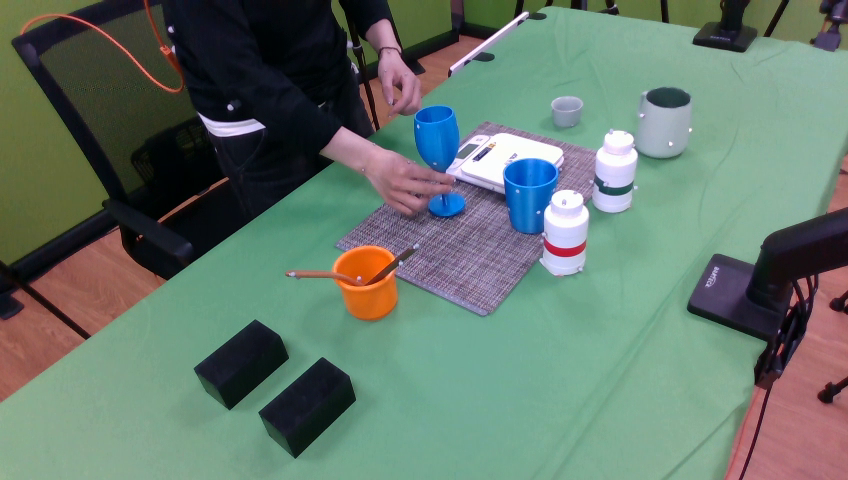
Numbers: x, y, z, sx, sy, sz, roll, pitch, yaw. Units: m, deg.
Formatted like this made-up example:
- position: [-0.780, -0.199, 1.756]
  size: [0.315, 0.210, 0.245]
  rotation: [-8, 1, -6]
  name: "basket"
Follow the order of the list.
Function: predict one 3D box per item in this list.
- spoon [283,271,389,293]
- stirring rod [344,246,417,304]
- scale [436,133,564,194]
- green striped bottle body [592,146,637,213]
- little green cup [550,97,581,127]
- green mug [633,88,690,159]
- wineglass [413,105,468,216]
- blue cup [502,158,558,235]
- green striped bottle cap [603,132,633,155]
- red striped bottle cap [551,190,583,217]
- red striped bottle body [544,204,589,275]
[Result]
- position: [-0.117, 0.054, 0.825]
  size: [0.041, 0.195, 0.021]
  rotation: [17, 89, 38]
  name: "spoon"
- position: [-0.062, 0.050, 0.819]
  size: [0.014, 0.175, 0.006]
  rotation: [-2, 63, -40]
  name: "stirring rod"
- position: [0.137, -0.142, 1.101]
  size: [0.199, 0.032, 0.149]
  rotation: [22, 48, 30]
  name: "scale"
- position: [0.307, -0.108, 0.976]
  size: [0.063, 0.120, 0.063]
  rotation: [-4, 41, 4]
  name: "green striped bottle body"
- position: [0.284, -0.255, 1.213]
  size: [0.061, 0.039, 0.061]
  rotation: [-5, 41, 5]
  name: "little green cup"
- position: [0.423, -0.217, 1.099]
  size: [0.093, 0.105, 0.124]
  rotation: [-16, 41, -10]
  name: "green mug"
- position: [0.026, -0.127, 0.982]
  size: [0.073, 0.173, 0.073]
  rotation: [-6, 37, 5]
  name: "wineglass"
- position: [0.168, -0.064, 0.954]
  size: [0.092, 0.100, 0.092]
  rotation: [-5, 38, 5]
  name: "blue cup"
- position: [0.302, -0.149, 0.939]
  size: [0.044, 0.020, 0.044]
  rotation: [-3, 40, 3]
  name: "green striped bottle cap"
- position: [0.200, -0.051, 0.843]
  size: [0.044, 0.018, 0.044]
  rotation: [-3, 41, 3]
  name: "red striped bottle cap"
- position: [0.206, -0.011, 0.877]
  size: [0.063, 0.120, 0.062]
  rotation: [-4, 41, 4]
  name: "red striped bottle body"
